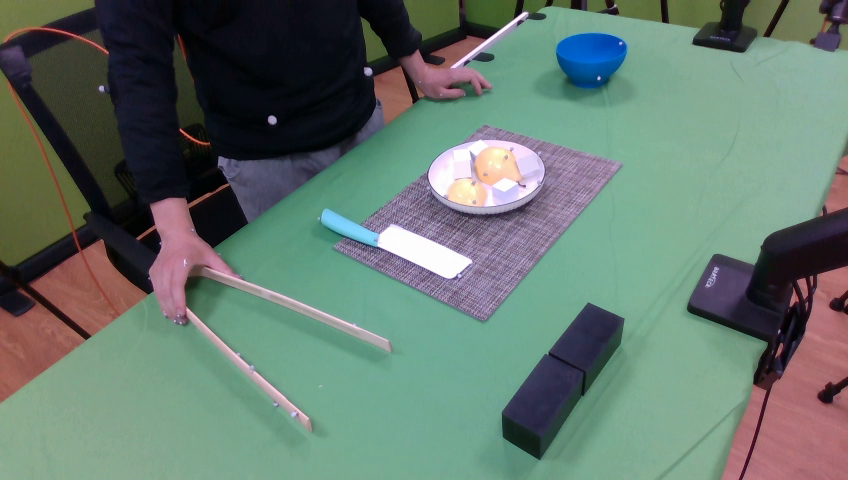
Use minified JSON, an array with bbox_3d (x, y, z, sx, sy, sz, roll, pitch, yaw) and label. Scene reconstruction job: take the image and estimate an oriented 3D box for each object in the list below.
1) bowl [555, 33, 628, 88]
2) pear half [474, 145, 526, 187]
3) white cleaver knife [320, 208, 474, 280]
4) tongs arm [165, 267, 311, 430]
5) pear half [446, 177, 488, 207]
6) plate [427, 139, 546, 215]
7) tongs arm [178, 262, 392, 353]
[{"bbox_3d":[0.361,-0.384,1.318,0.151,0.077,0.150,-4,41,4],"label":"bowl"},{"bbox_3d":[0.140,-0.129,1.059,0.076,0.056,0.109,-37,52,-24],"label":"pear half"},{"bbox_3d":[-0.053,0.001,0.978,0.284,0.021,0.066,23,39,26],"label":"white cleaver knife"},{"bbox_3d":[-0.261,0.136,0.834,0.381,0.026,0.051,27,51,34],"label":"tongs arm"},{"bbox_3d":[0.073,-0.086,1.031,0.070,0.031,0.087,-20,36,-10],"label":"pear half"},{"bbox_3d":[0.109,-0.106,1.058,0.207,0.039,0.206,-4,41,4],"label":"plate"},{"bbox_3d":[-0.212,0.093,0.880,0.385,0.028,0.028,17,49,25],"label":"tongs arm"}]
